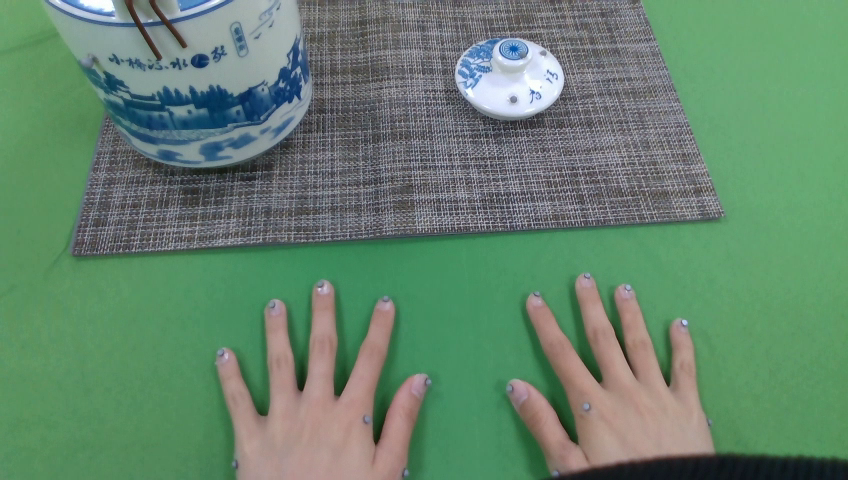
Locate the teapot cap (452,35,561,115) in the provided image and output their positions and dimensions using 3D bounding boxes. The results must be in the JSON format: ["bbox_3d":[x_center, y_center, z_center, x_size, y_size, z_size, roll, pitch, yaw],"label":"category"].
[{"bbox_3d":[0.065,-0.134,0.469,0.085,0.044,0.084,-1,59,2],"label":"teapot cap"}]

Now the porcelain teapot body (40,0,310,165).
[{"bbox_3d":[-0.161,-0.184,0.387,0.145,0.227,0.203,-9,60,-7],"label":"porcelain teapot body"}]
